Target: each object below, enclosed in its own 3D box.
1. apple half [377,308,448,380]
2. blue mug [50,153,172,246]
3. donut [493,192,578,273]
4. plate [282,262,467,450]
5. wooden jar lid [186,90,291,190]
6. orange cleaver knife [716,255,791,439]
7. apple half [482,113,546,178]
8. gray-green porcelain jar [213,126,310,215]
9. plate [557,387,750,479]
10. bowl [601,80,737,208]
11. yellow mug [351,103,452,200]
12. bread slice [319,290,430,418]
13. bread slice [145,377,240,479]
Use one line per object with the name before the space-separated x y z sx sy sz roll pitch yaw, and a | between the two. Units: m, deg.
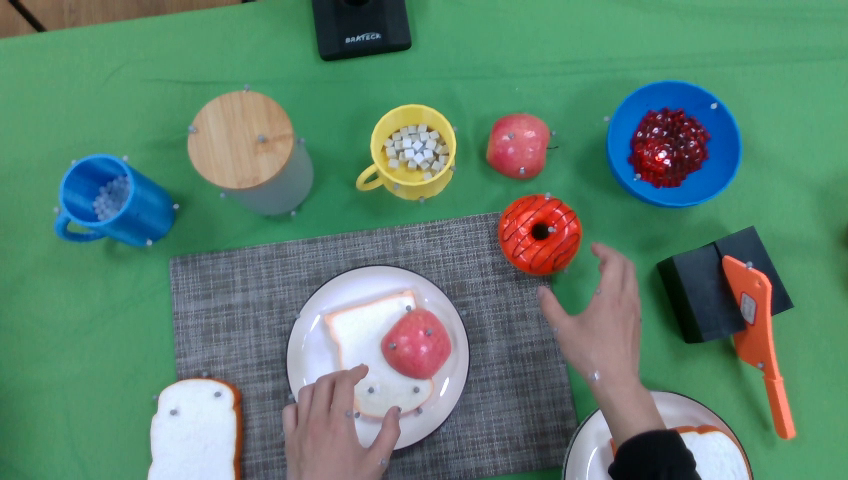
apple half | -0.011 0.116 0.672 0.081 0.033 0.081 0 78 -1
blue mug | -0.365 -0.034 0.694 0.116 0.106 0.082 -34 80 -6
donut | 0.130 -0.009 0.714 0.099 0.048 0.098 0 79 0
plate | -0.055 0.130 0.692 0.208 0.039 0.206 0 79 1
wooden jar lid | -0.192 -0.102 0.633 0.108 0.021 0.108 0 77 1
orange cleaver knife | 0.364 0.118 0.673 0.012 0.077 0.212 -19 101 -10
apple half | 0.111 -0.120 0.735 0.074 0.053 0.080 13 79 6
gray-green porcelain jar | -0.191 -0.089 0.694 0.106 0.127 0.105 0 78 0
plate | 0.248 0.268 0.667 0.209 0.038 0.208 0 79 0
bowl | 0.277 -0.103 0.718 0.151 0.077 0.150 0 79 1
yellow mug | -0.030 -0.096 0.725 0.131 0.064 0.099 -32 80 -5
bread slice | -0.049 0.133 0.692 0.107 0.018 0.133 -19 80 -3
bread slice | -0.263 0.222 0.685 0.105 0.019 0.131 -1 80 0
